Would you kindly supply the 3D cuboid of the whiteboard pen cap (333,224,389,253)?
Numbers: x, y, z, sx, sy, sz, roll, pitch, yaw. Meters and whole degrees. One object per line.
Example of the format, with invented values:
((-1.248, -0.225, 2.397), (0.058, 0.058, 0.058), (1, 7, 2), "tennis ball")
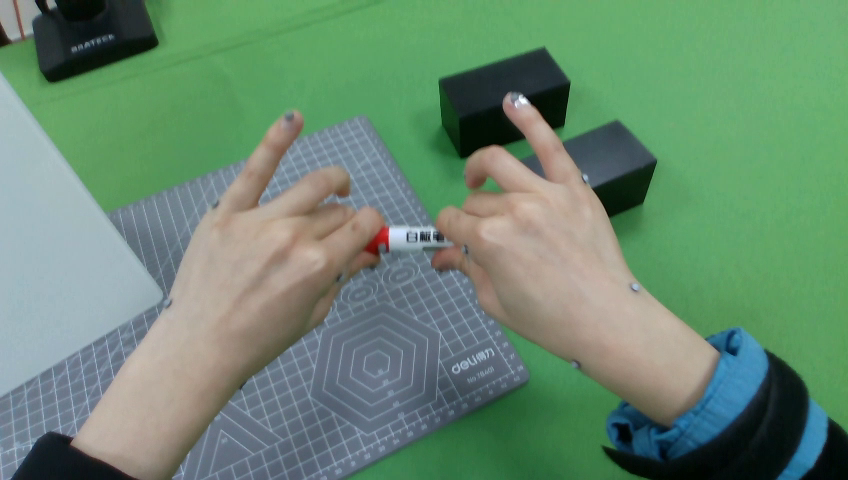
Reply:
((-0.036, -0.001, 0.356), (0.032, 0.017, 0.017), (-2, 55, 0), "whiteboard pen cap")

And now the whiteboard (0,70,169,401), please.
((-0.356, -0.042, 0.391), (0.217, 0.308, 0.142), (-32, 39, -16), "whiteboard")

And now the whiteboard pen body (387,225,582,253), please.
((0.023, -0.001, 0.357), (0.141, 0.017, 0.016), (0, 55, -2), "whiteboard pen body")
